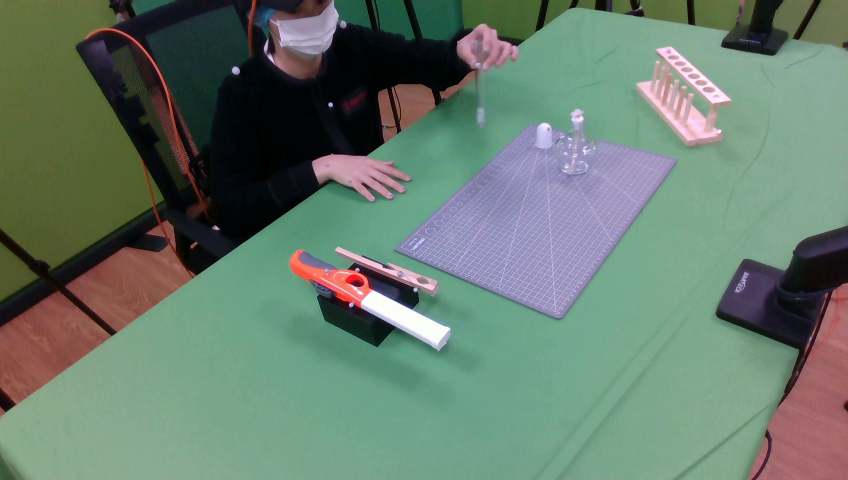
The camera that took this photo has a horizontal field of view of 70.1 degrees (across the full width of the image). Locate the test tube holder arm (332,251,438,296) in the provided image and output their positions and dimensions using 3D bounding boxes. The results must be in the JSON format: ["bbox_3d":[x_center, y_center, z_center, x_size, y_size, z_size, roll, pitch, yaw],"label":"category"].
[{"bbox_3d":[-0.059,0.046,0.859,0.177,0.015,0.013,16,48,26],"label":"test tube holder arm"}]

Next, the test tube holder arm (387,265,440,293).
[{"bbox_3d":[-0.017,0.054,0.843,0.087,0.015,0.010,18,48,27],"label":"test tube holder arm"}]

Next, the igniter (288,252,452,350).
[{"bbox_3d":[-0.084,0.077,0.821,0.274,0.025,0.057,23,48,27],"label":"igniter"}]

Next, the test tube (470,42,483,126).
[{"bbox_3d":[0.091,-0.265,1.040,0.017,0.151,0.017,-4,37,4],"label":"test tube"}]

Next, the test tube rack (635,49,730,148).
[{"bbox_3d":[0.497,-0.283,1.185,0.067,0.085,0.240,-10,40,-2],"label":"test tube rack"}]

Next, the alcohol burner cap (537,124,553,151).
[{"bbox_3d":[0.232,-0.199,1.158,0.034,0.048,0.033,-5,40,5],"label":"alcohol burner cap"}]

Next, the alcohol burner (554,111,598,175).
[{"bbox_3d":[0.270,-0.175,1.066,0.078,0.119,0.077,-4,42,4],"label":"alcohol burner"}]
